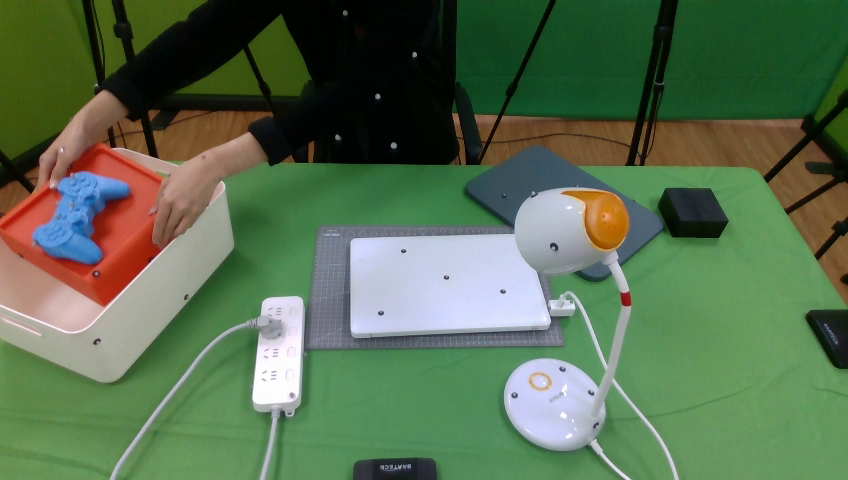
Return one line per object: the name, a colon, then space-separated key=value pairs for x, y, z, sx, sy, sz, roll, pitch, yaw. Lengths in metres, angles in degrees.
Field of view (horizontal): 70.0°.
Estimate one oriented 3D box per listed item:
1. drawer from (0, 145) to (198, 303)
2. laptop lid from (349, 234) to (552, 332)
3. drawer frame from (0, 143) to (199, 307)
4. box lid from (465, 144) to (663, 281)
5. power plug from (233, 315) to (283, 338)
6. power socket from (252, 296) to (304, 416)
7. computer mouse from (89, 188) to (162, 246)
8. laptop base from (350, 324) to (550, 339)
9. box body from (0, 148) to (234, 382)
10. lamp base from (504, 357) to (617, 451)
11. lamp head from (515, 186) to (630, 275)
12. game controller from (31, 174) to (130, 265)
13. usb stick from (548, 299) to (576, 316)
drawer: x=-0.512 y=-0.031 z=0.972 sx=0.194 sy=0.073 sz=0.211 roll=28 pitch=56 yaw=10
laptop lid: x=0.040 y=0.071 z=1.117 sx=0.357 sy=0.013 sz=0.240 roll=0 pitch=44 yaw=-5
drawer frame: x=-0.513 y=-0.030 z=0.969 sx=0.201 sy=0.083 sz=0.213 roll=27 pitch=56 yaw=11
box lid: x=0.297 y=-0.073 z=1.298 sx=0.263 sy=0.015 sz=0.369 roll=-33 pitch=56 yaw=-31
power plug: x=-0.270 y=0.144 z=0.999 sx=0.072 sy=0.053 sz=0.035 roll=5 pitch=46 yaw=2
power socket: x=-0.238 y=0.181 z=0.997 sx=0.072 sy=0.033 sz=0.225 roll=-3 pitch=47 yaw=-5
computer mouse: x=-0.493 y=-0.042 z=1.001 sx=0.117 sy=0.041 sz=0.062 roll=35 pitch=55 yaw=12
laptop base: x=0.039 y=0.081 z=1.124 sx=0.355 sy=0.023 sz=0.234 roll=-2 pitch=43 yaw=-6
box body: x=-0.525 y=0.033 z=1.027 sx=0.254 sy=0.161 sz=0.362 roll=18 pitch=47 yaw=13
lamp base: x=0.220 y=0.211 z=0.902 sx=0.160 sy=0.181 sz=0.178 roll=-32 pitch=59 yaw=-30
lamp head: x=0.188 y=-0.013 z=0.728 sx=0.112 sy=0.112 sz=0.122 roll=-25 pitch=9 yaw=-25
game controller: x=-0.517 y=-0.037 z=0.911 sx=0.097 sy=0.052 sz=0.154 roll=4 pitch=53 yaw=0
usb stick: x=0.239 y=0.121 z=1.083 sx=0.059 sy=0.027 sz=0.021 roll=-1 pitch=50 yaw=-2
